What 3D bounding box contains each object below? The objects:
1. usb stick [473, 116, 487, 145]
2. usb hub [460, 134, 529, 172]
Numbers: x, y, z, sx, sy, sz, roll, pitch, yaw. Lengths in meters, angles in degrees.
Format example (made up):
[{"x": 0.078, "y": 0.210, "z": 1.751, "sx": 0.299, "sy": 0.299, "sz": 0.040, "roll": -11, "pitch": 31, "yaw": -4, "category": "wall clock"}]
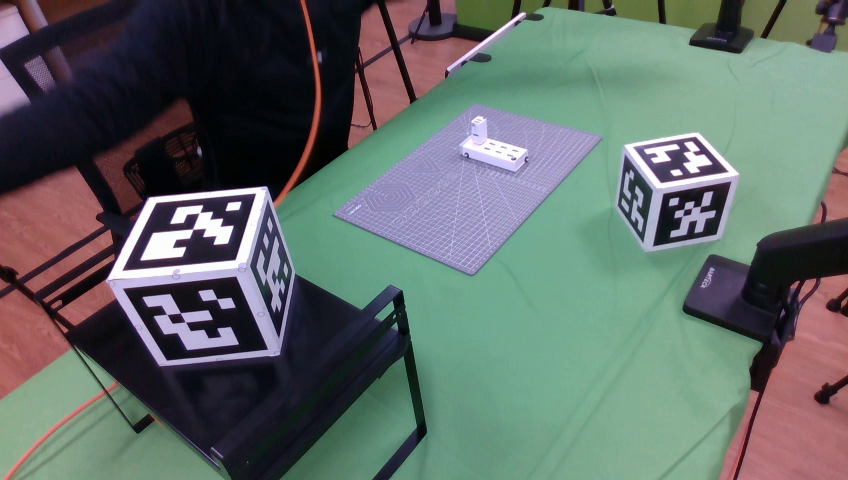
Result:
[{"x": 0.105, "y": -0.208, "z": 1.127, "sx": 0.021, "sy": 0.059, "sz": 0.027, "roll": 7, "pitch": 45, "yaw": 4, "category": "usb stick"}, {"x": 0.132, "y": -0.165, "z": 1.138, "sx": 0.124, "sy": 0.025, "sz": 0.049, "roll": 22, "pitch": 49, "yaw": 30, "category": "usb hub"}]
